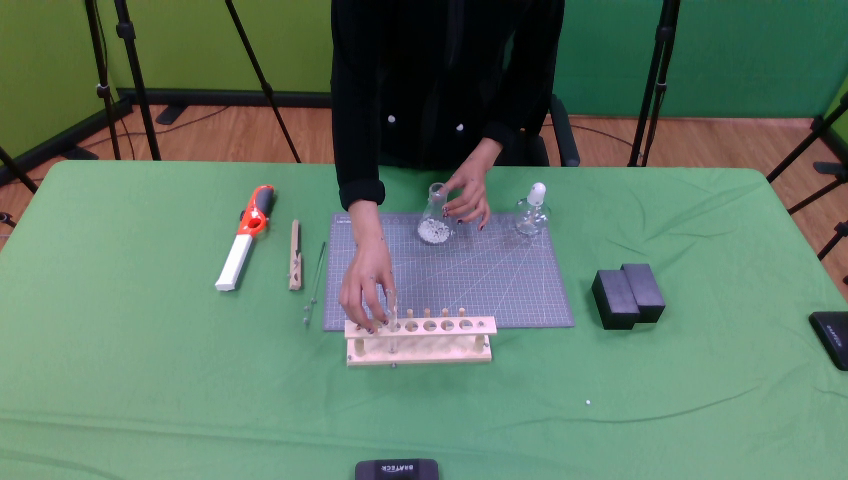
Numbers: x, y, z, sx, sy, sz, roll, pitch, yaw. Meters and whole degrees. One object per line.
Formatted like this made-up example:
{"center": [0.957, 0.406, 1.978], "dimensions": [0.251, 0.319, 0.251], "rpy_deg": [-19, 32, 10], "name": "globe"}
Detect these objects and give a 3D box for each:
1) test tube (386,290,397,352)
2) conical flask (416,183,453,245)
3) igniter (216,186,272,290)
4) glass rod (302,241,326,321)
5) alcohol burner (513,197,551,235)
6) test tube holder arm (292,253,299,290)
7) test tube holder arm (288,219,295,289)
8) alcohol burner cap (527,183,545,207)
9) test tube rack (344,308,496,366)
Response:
{"center": [-0.052, 0.131, 0.955], "dimensions": [0.017, 0.151, 0.017], "rpy_deg": [2, 46, -2], "name": "test tube"}
{"center": [0.023, -0.055, 1.182], "dimensions": [0.075, 0.122, 0.075], "rpy_deg": [2, 46, -2], "name": "conical flask"}
{"center": [-0.347, -0.013, 1.181], "dimensions": [0.057, 0.025, 0.275], "rpy_deg": [-1, 45, 7], "name": "igniter"}
{"center": [-0.202, 0.072, 1.123], "dimensions": [0.008, 0.008, 0.198], "rpy_deg": [5, 44, 1], "name": "glass rod"}
{"center": [0.220, -0.068, 1.216], "dimensions": [0.078, 0.119, 0.077], "rpy_deg": [3, 47, -3], "name": "alcohol burner"}
{"center": [-0.241, 0.057, 1.130], "dimensions": [0.010, 0.015, 0.087], "rpy_deg": [25, 35, -32], "name": "test tube holder arm"}
{"center": [-0.253, 0.023, 1.158], "dimensions": [0.013, 0.015, 0.177], "rpy_deg": [23, 36, -34], "name": "test tube holder arm"}
{"center": [0.222, -0.091, 1.189], "dimensions": [0.034, 0.048, 0.033], "rpy_deg": [2, 54, -3], "name": "alcohol burner cap"}
{"center": [-0.009, 0.155, 1.006], "dimensions": [0.242, 0.085, 0.066], "rpy_deg": [-1, 46, -5], "name": "test tube rack"}
